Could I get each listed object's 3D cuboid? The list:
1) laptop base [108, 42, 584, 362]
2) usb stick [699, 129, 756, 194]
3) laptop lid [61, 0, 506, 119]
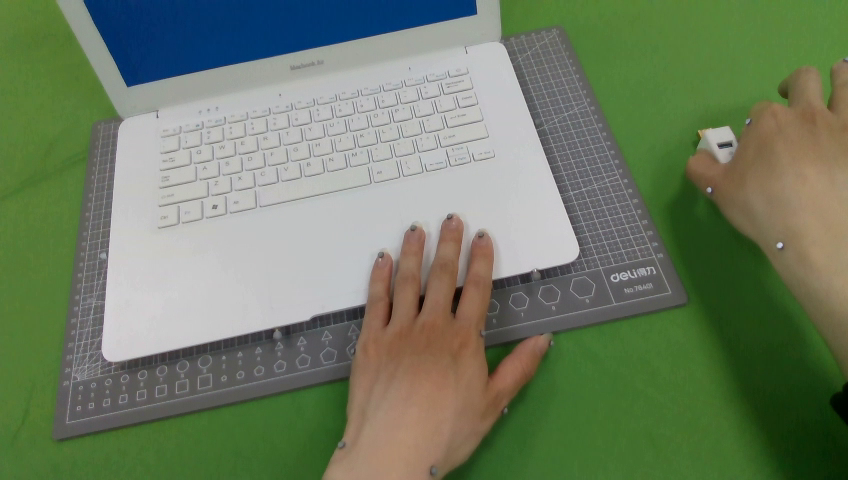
[{"bbox_3d":[-0.075,-0.043,0.495,0.354,0.023,0.233,-12,62,-1],"label":"laptop base"},{"bbox_3d":[0.233,-0.066,0.471,0.021,0.027,0.058,-12,55,1],"label":"usb stick"},{"bbox_3d":[-0.114,-0.229,0.477,0.357,0.244,0.013,-13,41,0],"label":"laptop lid"}]
